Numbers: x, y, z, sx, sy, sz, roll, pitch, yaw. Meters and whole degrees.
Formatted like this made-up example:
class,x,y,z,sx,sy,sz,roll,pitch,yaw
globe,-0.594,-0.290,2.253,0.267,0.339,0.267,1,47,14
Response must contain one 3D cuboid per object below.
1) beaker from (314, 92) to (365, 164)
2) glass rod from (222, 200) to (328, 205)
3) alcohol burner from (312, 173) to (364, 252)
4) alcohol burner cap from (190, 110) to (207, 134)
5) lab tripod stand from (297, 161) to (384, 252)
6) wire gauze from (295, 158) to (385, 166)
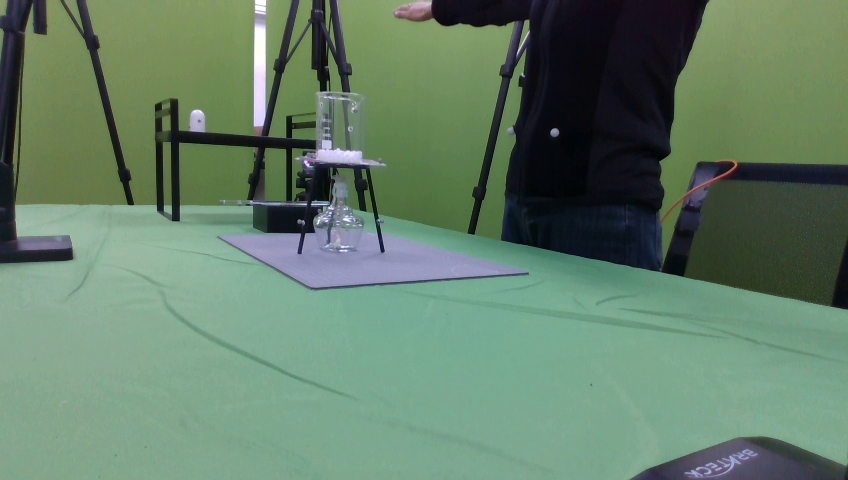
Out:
class,x,y,z,sx,sy,sz,roll,pitch,yaw
beaker,-0.123,-0.163,0.893,0.073,0.100,0.084,7,9,31
glass rod,-0.276,-0.071,1.140,0.201,0.008,0.008,-1,8,-28
alcohol burner,-0.129,-0.042,0.910,0.078,0.119,0.078,4,9,0
alcohol burner cap,-0.463,-0.242,1.240,0.034,0.048,0.034,2,7,0
lab tripod stand,-0.130,-0.051,0.903,0.148,0.131,0.148,3,9,0
wire gauze,-0.128,-0.117,0.901,0.125,0.011,0.121,-2,8,-14
